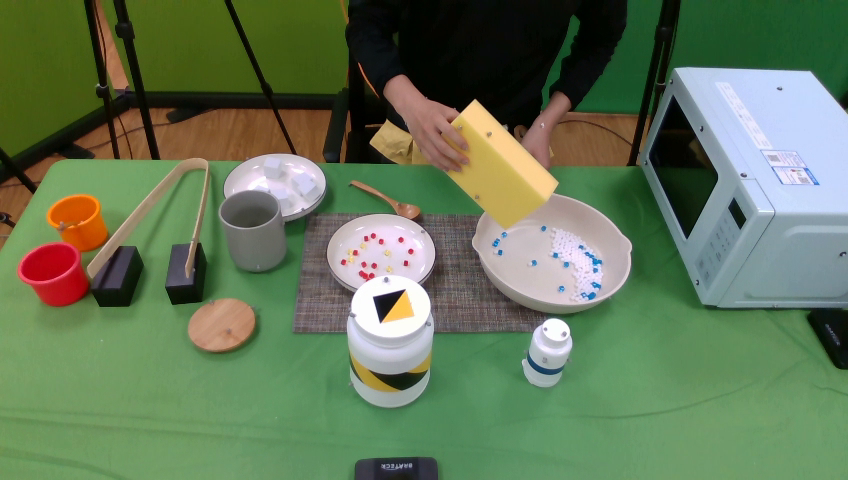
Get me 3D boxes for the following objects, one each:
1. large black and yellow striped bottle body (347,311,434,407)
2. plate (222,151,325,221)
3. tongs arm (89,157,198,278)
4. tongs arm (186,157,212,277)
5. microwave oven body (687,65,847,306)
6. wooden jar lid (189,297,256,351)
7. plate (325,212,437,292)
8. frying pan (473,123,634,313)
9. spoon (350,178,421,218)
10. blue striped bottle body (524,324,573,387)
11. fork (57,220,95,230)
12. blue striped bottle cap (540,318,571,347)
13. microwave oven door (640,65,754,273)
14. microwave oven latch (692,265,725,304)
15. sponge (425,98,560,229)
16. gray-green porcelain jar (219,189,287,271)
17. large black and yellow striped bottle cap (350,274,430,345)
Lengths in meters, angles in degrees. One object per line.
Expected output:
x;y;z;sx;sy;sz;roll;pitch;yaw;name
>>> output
-0.052;0.157;0.929;0.131;0.185;0.130;2;47;-2;large black and yellow striped bottle body
-0.310;-0.106;1.262;0.208;0.039;0.206;2;47;-2;plate
-0.529;-0.058;1.164;0.028;0.028;0.385;1;36;8;tongs arm
-0.445;-0.058;1.168;0.051;0.026;0.382;-5;37;-6;tongs arm
0.669;-0.111;1.176;0.326;0.261;0.439;0;46;-3;microwave oven body
-0.342;0.145;1.033;0.108;0.021;0.107;2;45;-2;wooden jar lid
-0.080;0.030;1.143;0.209;0.038;0.208;3;46;-3;plate
0.235;-0.061;1.208;0.307;0.103;0.484;1;55;-6;frying pan
-0.084;-0.093;1.272;0.193;0.022;0.041;31;69;25;spoon
0.200;0.178;0.970;0.063;0.121;0.062;2;46;-2;blue striped bottle body
-0.624;-0.027;1.087;0.028;0.207;0.018;-3;92;-17;fork
0.203;0.142;0.933;0.044;0.021;0.044;3;49;-3;blue striped bottle cap
0.523;-0.147;1.193;0.039;0.245;0.353;0;47;-3;microwave oven door
0.522;0.081;1.116;0.030;0.029;0.078;1;46;-2;microwave oven latch
0.118;-0.130;1.054;0.207;0.118;0.061;44;49;-5;sponge
-0.310;-0.014;1.113;0.106;0.127;0.105;2;46;-2;gray-green porcelain jar
-0.048;0.097;0.868;0.115;0.019;0.114;3;48;-3;large black and yellow striped bottle cap
